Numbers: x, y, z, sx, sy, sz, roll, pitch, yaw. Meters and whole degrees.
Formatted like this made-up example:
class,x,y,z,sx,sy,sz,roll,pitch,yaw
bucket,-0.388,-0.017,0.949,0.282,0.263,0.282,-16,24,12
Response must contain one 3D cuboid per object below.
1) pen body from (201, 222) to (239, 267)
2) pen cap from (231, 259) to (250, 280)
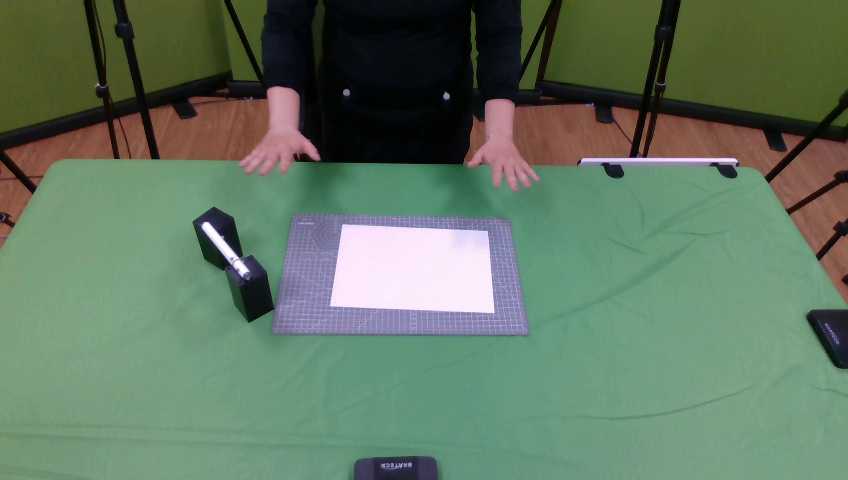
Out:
class,x,y,z,sx,sy,sz,roll,pitch,yaw
pen body,-0.338,0.014,1.023,0.017,0.017,0.143,-28,53,-28
pen cap,-0.299,0.049,0.991,0.017,0.017,0.038,-29,55,-28
